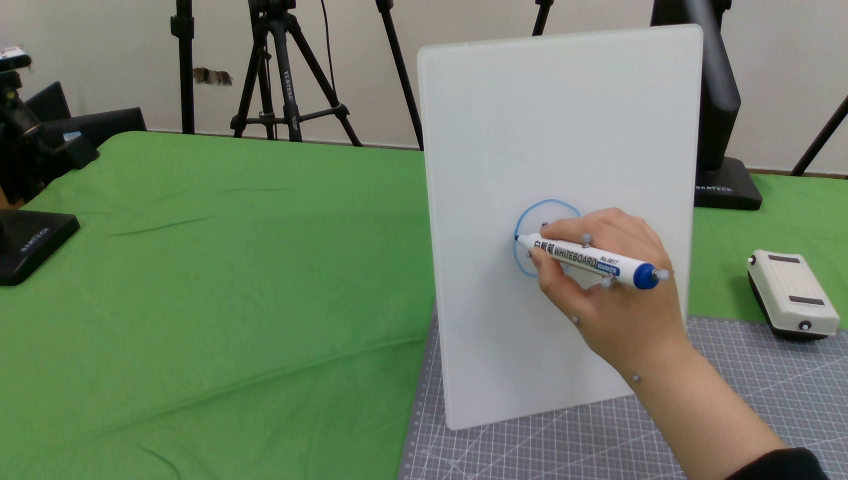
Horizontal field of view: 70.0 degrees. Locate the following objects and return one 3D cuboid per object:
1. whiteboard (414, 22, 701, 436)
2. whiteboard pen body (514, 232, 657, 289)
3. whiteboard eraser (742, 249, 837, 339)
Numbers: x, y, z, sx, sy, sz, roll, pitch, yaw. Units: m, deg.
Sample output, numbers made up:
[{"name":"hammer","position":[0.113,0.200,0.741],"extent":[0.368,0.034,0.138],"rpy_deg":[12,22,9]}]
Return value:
[{"name":"whiteboard","position":[0.097,-0.019,0.530],"extent":[0.218,0.307,0.142],"rpy_deg":[-8,18,-10]},{"name":"whiteboard pen body","position":[0.096,0.009,0.395],"extent":[0.017,0.017,0.139],"rpy_deg":[-16,16,-20]},{"name":"whiteboard eraser","position":[0.362,0.053,0.608],"extent":[0.055,0.042,0.112],"rpy_deg":[5,33,9]}]
